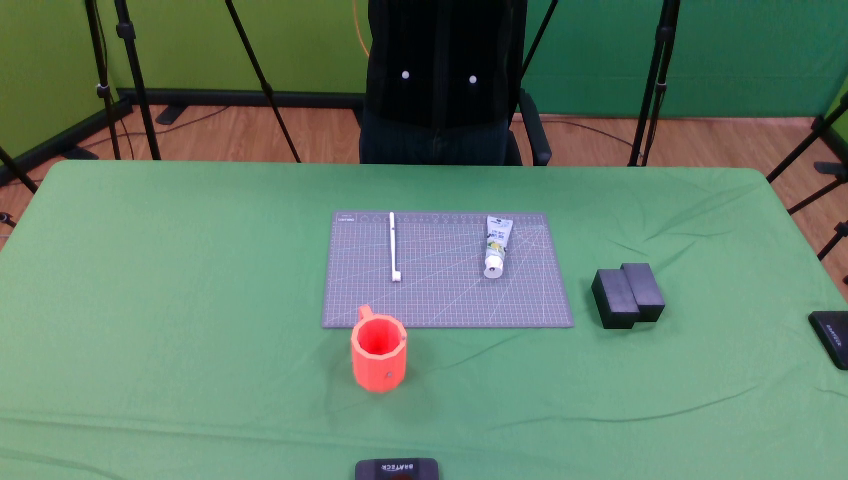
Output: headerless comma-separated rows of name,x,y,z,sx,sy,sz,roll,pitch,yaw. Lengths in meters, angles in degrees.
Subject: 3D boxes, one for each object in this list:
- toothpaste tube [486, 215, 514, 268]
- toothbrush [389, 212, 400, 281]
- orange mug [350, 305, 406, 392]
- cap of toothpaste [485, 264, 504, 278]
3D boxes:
toothpaste tube,0.147,0.005,1.197,0.055,0.034,0.164,14,43,0
toothbrush,-0.059,0.010,1.186,0.017,0.014,0.180,1,46,-8
orange mug,-0.080,0.168,0.978,0.083,0.101,0.125,-16,54,-18
cap of toothpaste,0.132,0.057,1.137,0.037,0.037,0.011,1,48,-2
